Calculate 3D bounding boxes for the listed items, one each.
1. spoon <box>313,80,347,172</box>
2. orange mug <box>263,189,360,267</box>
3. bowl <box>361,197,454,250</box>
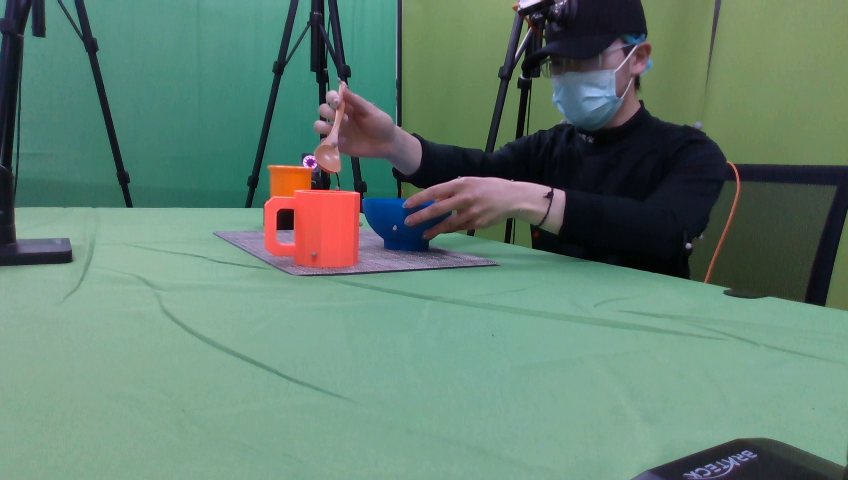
[{"bbox_3d":[-0.127,-0.167,0.868,0.042,0.193,0.021,21,-38,-21],"label":"spoon"},{"bbox_3d":[-0.147,-0.019,0.795,0.127,0.100,0.083,5,6,-19],"label":"orange mug"},{"bbox_3d":[-0.028,-0.028,0.984,0.151,0.077,0.151,2,7,0],"label":"bowl"}]
